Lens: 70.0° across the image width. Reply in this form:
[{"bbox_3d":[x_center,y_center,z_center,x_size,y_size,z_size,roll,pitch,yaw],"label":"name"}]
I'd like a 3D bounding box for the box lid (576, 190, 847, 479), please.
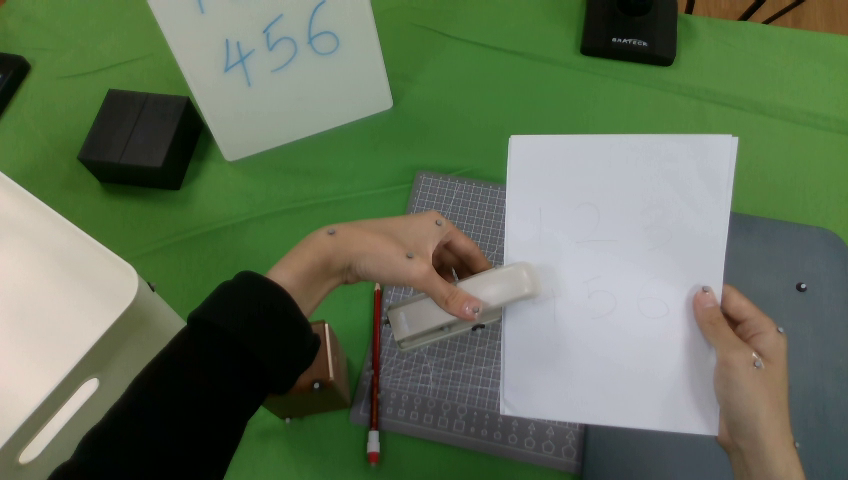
[{"bbox_3d":[0.300,0.123,0.611,0.263,0.015,0.369,11,66,5],"label":"box lid"}]

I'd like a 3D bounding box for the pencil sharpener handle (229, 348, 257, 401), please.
[{"bbox_3d":[-0.168,0.127,0.552,0.030,0.068,0.035,-10,48,-3],"label":"pencil sharpener handle"}]

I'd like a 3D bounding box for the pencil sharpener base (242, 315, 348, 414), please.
[{"bbox_3d":[-0.118,0.120,0.569,0.077,0.108,0.061,-10,65,-3],"label":"pencil sharpener base"}]

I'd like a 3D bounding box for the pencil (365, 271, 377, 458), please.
[{"bbox_3d":[-0.052,0.121,0.618,0.012,0.012,0.192,-2,65,1],"label":"pencil"}]

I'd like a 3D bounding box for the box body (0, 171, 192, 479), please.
[{"bbox_3d":[-0.441,0.070,0.568,0.362,0.161,0.253,30,69,14],"label":"box body"}]

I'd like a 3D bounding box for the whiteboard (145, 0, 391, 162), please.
[{"bbox_3d":[-0.186,-0.280,0.683,0.217,0.308,0.142,-20,46,-7],"label":"whiteboard"}]

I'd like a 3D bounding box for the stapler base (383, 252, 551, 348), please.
[{"bbox_3d":[0.031,0.045,0.460,0.130,0.024,0.041,-20,77,9],"label":"stapler base"}]

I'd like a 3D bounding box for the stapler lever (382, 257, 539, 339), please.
[{"bbox_3d":[0.025,0.042,0.436,0.118,0.040,0.026,-20,77,8],"label":"stapler lever"}]
